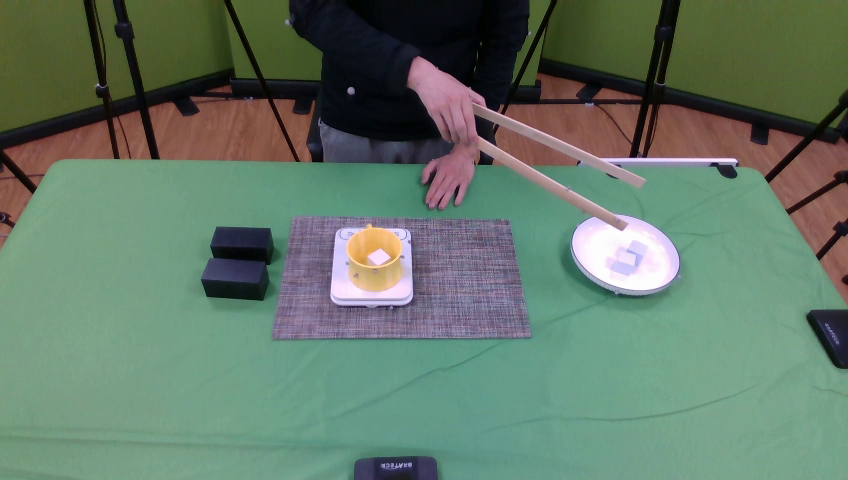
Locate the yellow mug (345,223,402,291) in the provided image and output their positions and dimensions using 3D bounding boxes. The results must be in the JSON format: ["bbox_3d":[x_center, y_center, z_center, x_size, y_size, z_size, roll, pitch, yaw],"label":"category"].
[{"bbox_3d":[-0.092,0.022,1.093,0.100,0.064,0.130,-8,46,-10],"label":"yellow mug"}]

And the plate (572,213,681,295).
[{"bbox_3d":[0.393,0.030,1.189,0.208,0.039,0.206,2,46,-2],"label":"plate"}]

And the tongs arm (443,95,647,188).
[{"bbox_3d":[0.214,-0.176,1.084,0.387,0.028,0.028,24,63,2],"label":"tongs arm"}]

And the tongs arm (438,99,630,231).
[{"bbox_3d":[0.186,-0.133,1.052,0.384,0.026,0.050,30,60,6],"label":"tongs arm"}]

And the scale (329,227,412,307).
[{"bbox_3d":[-0.099,0.042,1.139,0.149,0.032,0.199,1,46,-4],"label":"scale"}]
